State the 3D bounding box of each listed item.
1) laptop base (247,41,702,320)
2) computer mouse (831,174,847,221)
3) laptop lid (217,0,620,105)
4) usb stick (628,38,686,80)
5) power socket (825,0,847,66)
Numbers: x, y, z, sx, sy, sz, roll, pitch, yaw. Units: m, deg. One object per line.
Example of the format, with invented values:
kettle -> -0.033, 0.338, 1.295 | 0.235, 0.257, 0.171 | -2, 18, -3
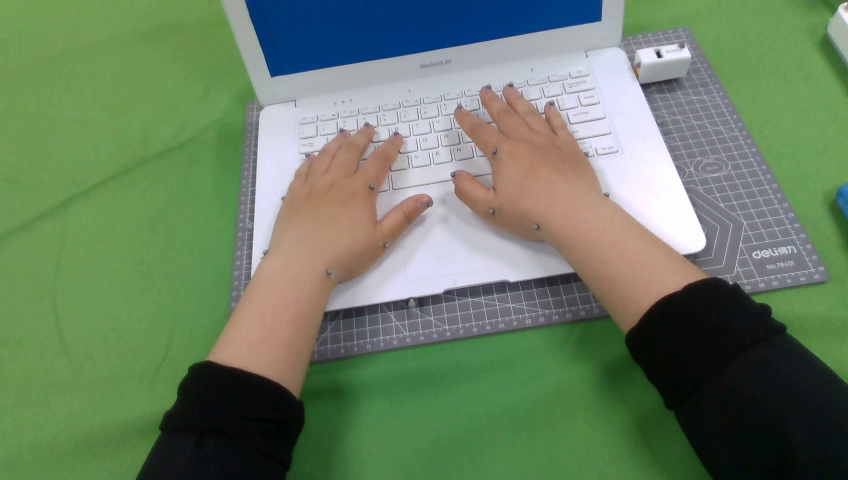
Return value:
laptop base -> 0.025, -0.060, 0.524 | 0.354, 0.023, 0.233 | -10, 59, 2
computer mouse -> 0.349, -0.011, 0.433 | 0.063, 0.041, 0.116 | -9, 51, 5
laptop lid -> -0.006, -0.241, 0.509 | 0.357, 0.244, 0.013 | -11, 43, 3
usb stick -> 0.204, -0.164, 0.552 | 0.059, 0.027, 0.021 | -10, 56, 6
power socket -> 0.415, -0.135, 0.509 | 0.072, 0.033, 0.224 | -6, 56, 4
